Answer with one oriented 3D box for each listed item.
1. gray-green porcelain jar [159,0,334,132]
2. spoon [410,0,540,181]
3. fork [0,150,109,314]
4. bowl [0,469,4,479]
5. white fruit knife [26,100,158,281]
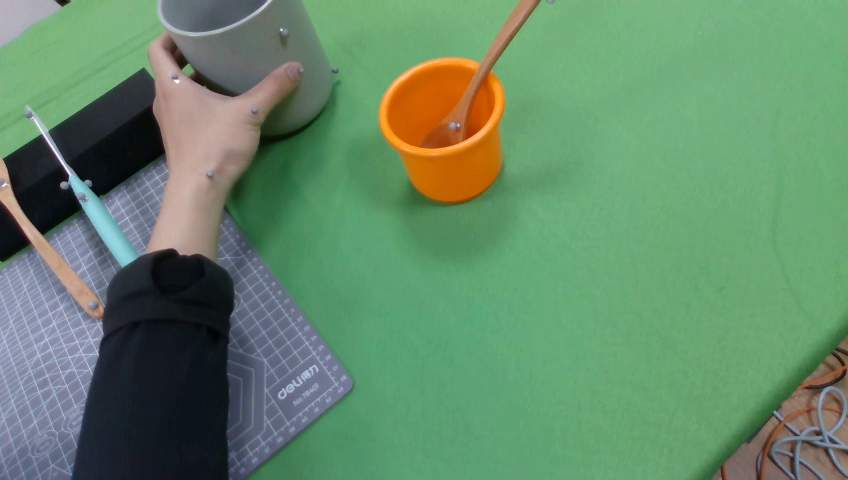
[{"bbox_3d":[-0.140,-0.163,0.511,0.106,0.128,0.105,-6,60,10],"label":"gray-green porcelain jar"},{"bbox_3d":[0.044,-0.120,0.434,0.022,0.194,0.041,-3,48,-43],"label":"spoon"},{"bbox_3d":[-0.321,-0.018,0.494,0.028,0.019,0.206,-40,79,-17],"label":"fork"},{"bbox_3d":[-0.318,0.190,0.376,0.151,0.077,0.150,-5,60,10],"label":"bowl"},{"bbox_3d":[-0.282,-0.047,0.503,0.016,0.027,0.206,-39,74,-11],"label":"white fruit knife"}]
